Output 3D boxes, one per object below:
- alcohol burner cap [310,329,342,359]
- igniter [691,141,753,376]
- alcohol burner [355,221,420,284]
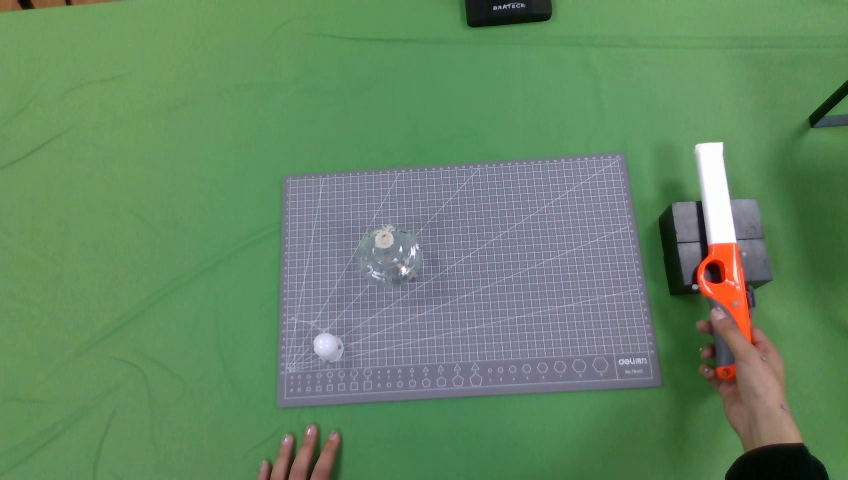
[{"bbox_3d":[-0.117,0.121,0.712,0.034,0.048,0.033,-1,72,4],"label":"alcohol burner cap"},{"bbox_3d":[0.334,0.015,0.687,0.057,0.025,0.275,-2,72,11],"label":"igniter"},{"bbox_3d":[-0.044,0.010,0.705,0.078,0.120,0.077,0,72,1],"label":"alcohol burner"}]
